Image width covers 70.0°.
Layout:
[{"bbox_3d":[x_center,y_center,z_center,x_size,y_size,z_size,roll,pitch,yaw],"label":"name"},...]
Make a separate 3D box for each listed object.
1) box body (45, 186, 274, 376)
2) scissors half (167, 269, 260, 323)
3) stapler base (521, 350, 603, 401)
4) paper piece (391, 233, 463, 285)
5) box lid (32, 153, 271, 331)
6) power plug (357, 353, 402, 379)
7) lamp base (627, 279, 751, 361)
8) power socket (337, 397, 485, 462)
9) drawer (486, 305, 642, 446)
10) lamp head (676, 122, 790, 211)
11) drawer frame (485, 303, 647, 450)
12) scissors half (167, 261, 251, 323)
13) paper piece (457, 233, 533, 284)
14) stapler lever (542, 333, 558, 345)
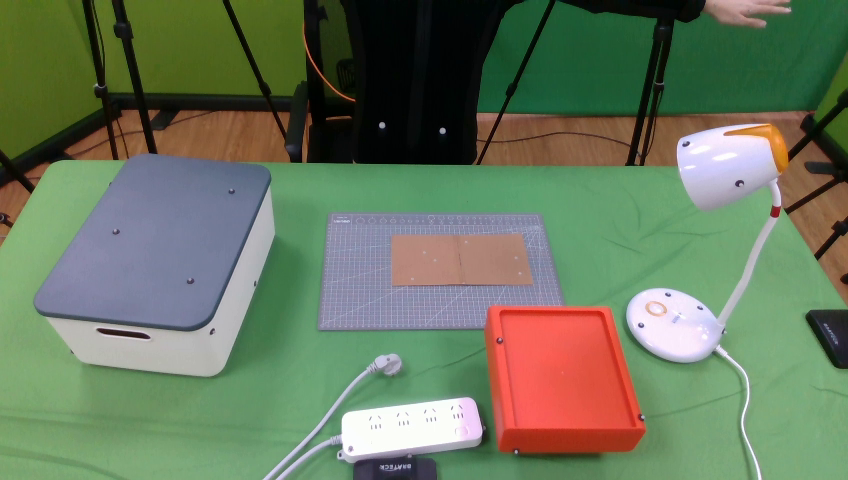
[{"bbox_3d":[-0.421,0.037,1.031,0.254,0.161,0.362,5,46,1],"label":"box body"},{"bbox_3d":[-0.369,0.101,1.069,0.175,0.013,0.040,-28,53,-22],"label":"scissors half"},{"bbox_3d":[0.217,0.203,0.942,0.130,0.024,0.041,26,33,16],"label":"stapler base"},{"bbox_3d":[0.004,0.035,1.170,0.135,0.004,0.135,1,46,-4],"label":"paper piece"},{"bbox_3d":[-0.417,-0.015,0.980,0.263,0.015,0.369,6,46,1],"label":"box lid"},{"bbox_3d":[-0.071,0.207,0.983,0.072,0.053,0.035,-20,51,4],"label":"power plug"},{"bbox_3d":[0.460,0.100,1.027,0.178,0.181,0.160,27,51,17],"label":"lamp base"},{"bbox_3d":[-0.018,0.285,0.915,0.227,0.033,0.071,-4,46,-8],"label":"power socket"},{"bbox_3d":[0.202,0.200,0.919,0.195,0.073,0.210,2,47,-4],"label":"drawer"},{"bbox_3d":[0.423,-0.104,0.819,0.122,0.113,0.112,-13,33,40],"label":"lamp head"},{"bbox_3d":[0.204,0.202,0.917,0.202,0.083,0.212,1,47,-4],"label":"drawer frame"},{"bbox_3d":[-0.383,0.091,1.080,0.040,0.013,0.175,25,52,29],"label":"scissors half"},{"bbox_3d":[0.136,0.035,1.182,0.136,0.009,0.137,2,45,-7],"label":"paper piece"},{"bbox_3d":[0.225,0.181,0.928,0.118,0.040,0.027,27,34,15],"label":"stapler lever"}]
